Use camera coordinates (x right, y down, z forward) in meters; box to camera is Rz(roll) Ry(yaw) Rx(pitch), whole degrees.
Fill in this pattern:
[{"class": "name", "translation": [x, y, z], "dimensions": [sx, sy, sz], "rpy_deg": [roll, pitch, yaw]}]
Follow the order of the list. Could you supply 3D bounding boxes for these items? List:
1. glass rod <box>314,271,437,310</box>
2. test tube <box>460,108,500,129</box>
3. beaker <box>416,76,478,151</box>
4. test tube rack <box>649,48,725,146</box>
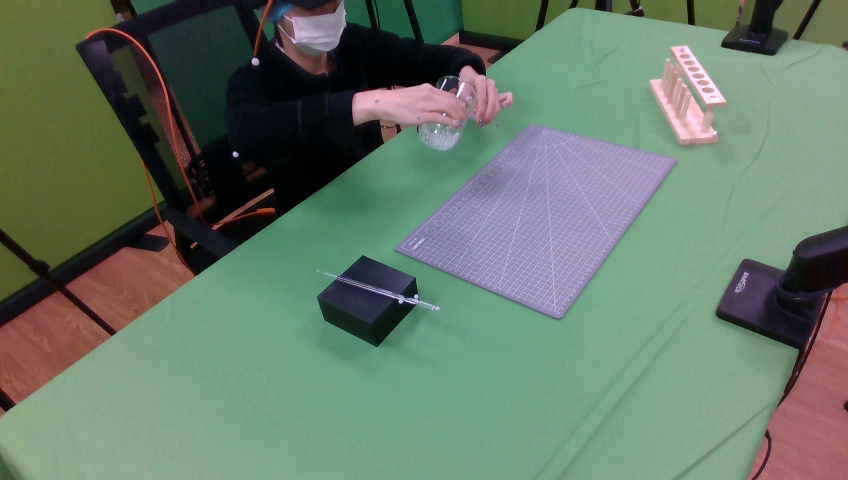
[{"class": "glass rod", "translation": [-0.072, 0.068, 0.837], "dimensions": [0.198, 0.008, 0.008], "rpy_deg": [14, 44, 24]}, {"class": "test tube", "translation": [0.103, -0.218, 1.092], "dimensions": [0.017, 0.017, 0.151], "rpy_deg": [18, 9, 28]}, {"class": "beaker", "translation": [0.037, -0.200, 0.979], "dimensions": [0.073, 0.084, 0.100], "rpy_deg": [10, 61, 29]}, {"class": "test tube rack", "translation": [0.508, -0.285, 1.186], "dimensions": [0.067, 0.085, 0.241], "rpy_deg": [-4, 40, 6]}]
